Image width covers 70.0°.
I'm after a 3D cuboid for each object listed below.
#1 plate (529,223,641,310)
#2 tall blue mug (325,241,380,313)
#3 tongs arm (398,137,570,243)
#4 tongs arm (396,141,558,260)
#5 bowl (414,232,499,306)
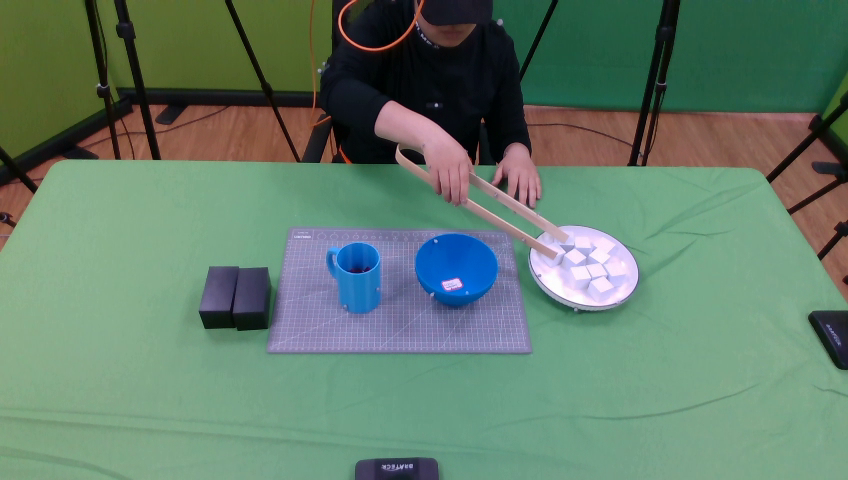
[{"bbox_3d":[0.303,0.053,1.156,0.209,0.038,0.208,2,46,-1],"label":"plate"},{"bbox_3d":[-0.130,0.063,1.062,0.107,0.108,0.077,9,47,5],"label":"tall blue mug"},{"bbox_3d":[0.112,-0.097,1.193,0.384,0.026,0.050,35,54,14],"label":"tongs arm"},{"bbox_3d":[0.093,-0.077,1.172,0.386,0.028,0.028,35,57,13],"label":"tongs arm"},{"bbox_3d":[0.056,0.066,1.095,0.151,0.077,0.150,2,46,-2],"label":"bowl"}]
